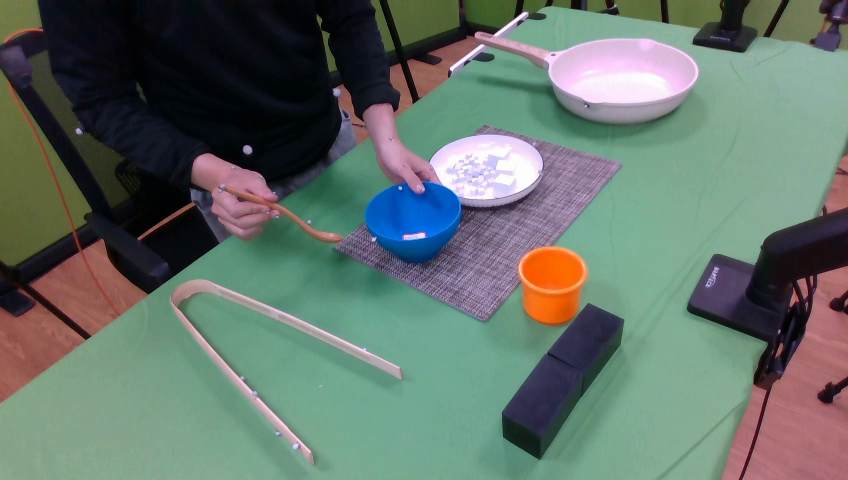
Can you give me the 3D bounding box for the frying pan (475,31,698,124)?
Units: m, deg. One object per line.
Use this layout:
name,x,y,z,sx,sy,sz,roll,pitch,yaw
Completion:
frying pan,0.320,-0.371,1.290,0.485,0.103,0.307,28,50,23

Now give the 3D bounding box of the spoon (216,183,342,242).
spoon,-0.191,-0.036,0.819,0.041,0.195,0.021,23,84,52

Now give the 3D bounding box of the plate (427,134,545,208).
plate,0.110,-0.119,1.073,0.207,0.039,0.206,-4,40,4

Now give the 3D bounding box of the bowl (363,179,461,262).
bowl,-0.014,-0.020,0.943,0.151,0.077,0.150,-4,41,4

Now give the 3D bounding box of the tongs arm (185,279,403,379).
tongs arm,-0.194,0.120,0.853,0.385,0.028,0.028,17,49,27

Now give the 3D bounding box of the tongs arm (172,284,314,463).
tongs arm,-0.246,0.161,0.806,0.381,0.026,0.051,29,51,36
